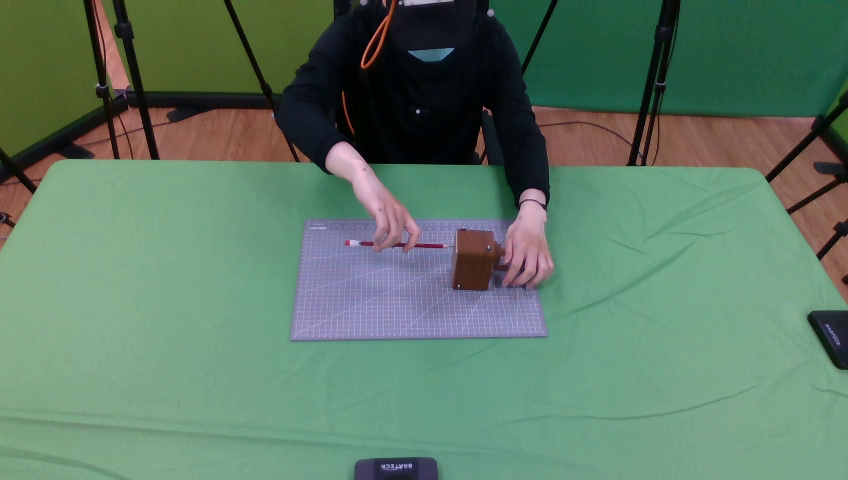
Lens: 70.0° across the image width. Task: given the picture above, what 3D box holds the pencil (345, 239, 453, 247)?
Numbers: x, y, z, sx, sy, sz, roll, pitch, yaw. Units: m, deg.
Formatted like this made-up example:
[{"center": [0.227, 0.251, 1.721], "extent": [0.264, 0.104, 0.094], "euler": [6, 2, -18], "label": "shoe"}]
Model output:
[{"center": [-0.044, 0.006, 1.081], "extent": [0.194, 0.012, 0.012], "euler": [2, 47, -2], "label": "pencil"}]

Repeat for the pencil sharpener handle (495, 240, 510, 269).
[{"center": [0.145, 0.029, 1.095], "extent": [0.030, 0.068, 0.036], "euler": [3, 47, -1], "label": "pencil sharpener handle"}]

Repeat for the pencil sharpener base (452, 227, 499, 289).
[{"center": [0.093, 0.035, 1.102], "extent": [0.077, 0.107, 0.061], "euler": [3, 46, -1], "label": "pencil sharpener base"}]
